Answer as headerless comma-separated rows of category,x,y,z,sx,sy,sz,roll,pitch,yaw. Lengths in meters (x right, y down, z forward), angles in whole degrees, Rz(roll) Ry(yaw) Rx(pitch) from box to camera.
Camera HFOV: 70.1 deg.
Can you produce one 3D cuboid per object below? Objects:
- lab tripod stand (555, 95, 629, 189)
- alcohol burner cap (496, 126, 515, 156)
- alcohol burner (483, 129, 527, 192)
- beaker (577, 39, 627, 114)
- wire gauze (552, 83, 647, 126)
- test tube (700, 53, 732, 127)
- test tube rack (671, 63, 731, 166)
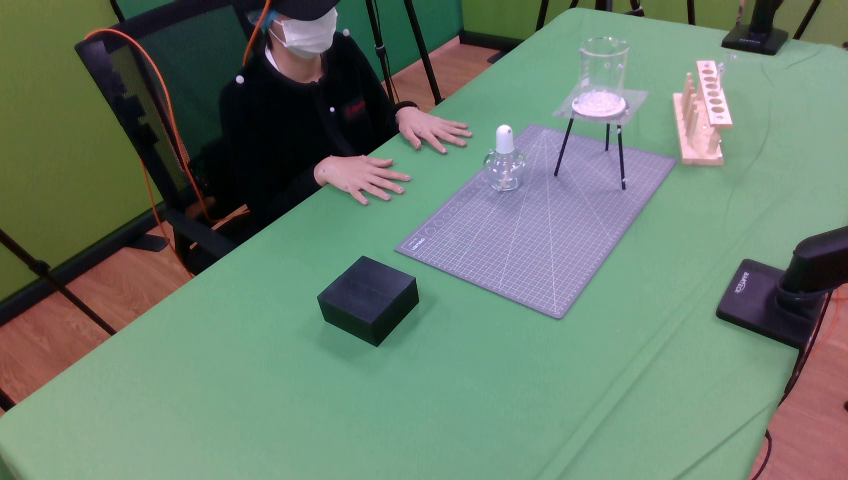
lab tripod stand,0.300,-0.174,1.045,0.148,0.132,0.147,-5,38,5
alcohol burner cap,0.138,-0.172,1.028,0.034,0.048,0.033,-5,38,5
alcohol burner,0.141,-0.144,1.050,0.078,0.119,0.077,-4,42,4
beaker,0.286,-0.264,0.976,0.073,0.100,0.084,25,49,33
wire gauze,0.293,-0.224,1.004,0.120,0.011,0.125,19,43,26
test tube,0.521,-0.265,1.081,0.017,0.151,0.017,-3,47,3
test tube rack,0.513,-0.241,1.132,0.066,0.085,0.242,4,41,14
